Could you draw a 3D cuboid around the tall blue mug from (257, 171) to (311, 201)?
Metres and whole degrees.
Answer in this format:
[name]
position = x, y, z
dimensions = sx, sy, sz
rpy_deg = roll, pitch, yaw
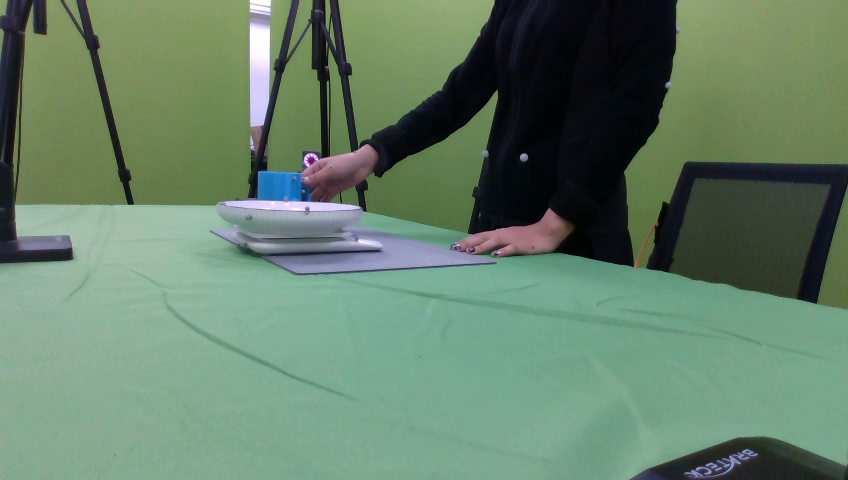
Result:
[tall blue mug]
position = -0.259, -0.070, 1.107
dimensions = 0.078, 0.108, 0.107
rpy_deg = 2, 7, 5

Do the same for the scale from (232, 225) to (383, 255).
[scale]
position = -0.177, -0.004, 0.920
dimensions = 0.202, 0.031, 0.148
rpy_deg = -1, 9, -30

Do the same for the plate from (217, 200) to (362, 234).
[plate]
position = -0.196, -0.035, 0.894
dimensions = 0.209, 0.038, 0.209
rpy_deg = 2, 7, 0
